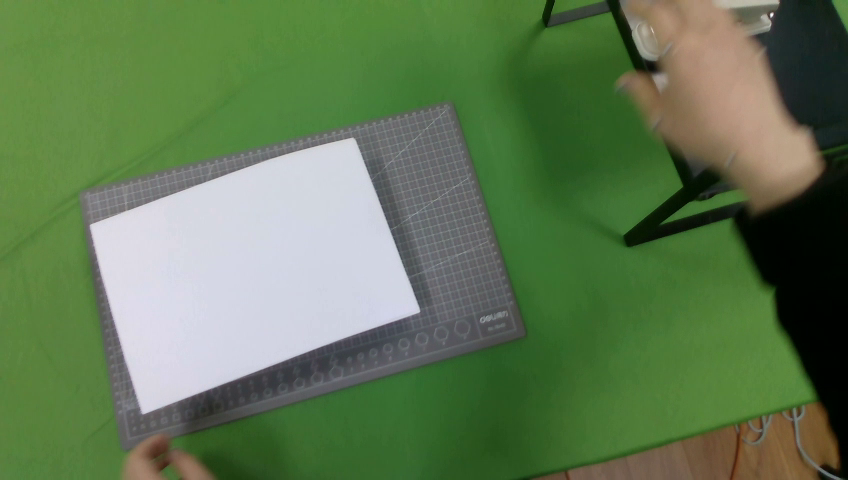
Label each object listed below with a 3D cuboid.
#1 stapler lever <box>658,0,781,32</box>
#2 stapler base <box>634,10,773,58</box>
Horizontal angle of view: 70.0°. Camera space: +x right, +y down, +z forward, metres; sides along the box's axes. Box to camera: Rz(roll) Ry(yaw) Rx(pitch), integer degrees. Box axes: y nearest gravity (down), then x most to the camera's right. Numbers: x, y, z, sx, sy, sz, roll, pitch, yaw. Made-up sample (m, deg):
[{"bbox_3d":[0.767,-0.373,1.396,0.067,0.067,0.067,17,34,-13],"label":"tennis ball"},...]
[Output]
[{"bbox_3d":[0.262,-0.211,0.532,0.118,0.040,0.026,-16,79,-6],"label":"stapler lever"},{"bbox_3d":[0.260,-0.204,0.557,0.131,0.024,0.041,-16,80,-7],"label":"stapler base"}]
